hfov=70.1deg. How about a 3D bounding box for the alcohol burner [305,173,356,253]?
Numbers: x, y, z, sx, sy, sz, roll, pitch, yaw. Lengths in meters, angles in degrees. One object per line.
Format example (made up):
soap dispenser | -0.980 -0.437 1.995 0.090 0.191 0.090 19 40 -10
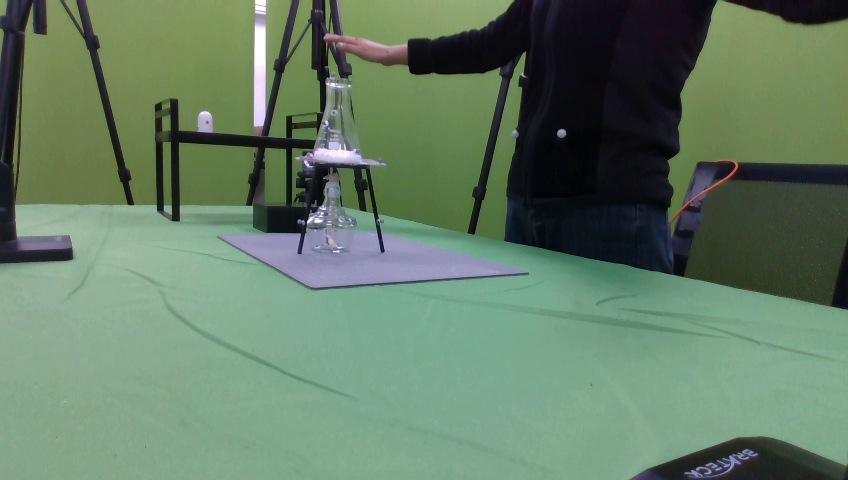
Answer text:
alcohol burner | -0.139 -0.041 0.898 0.078 0.119 0.078 4 8 0

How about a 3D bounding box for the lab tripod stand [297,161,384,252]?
lab tripod stand | -0.130 -0.051 0.903 0.148 0.131 0.148 3 9 0

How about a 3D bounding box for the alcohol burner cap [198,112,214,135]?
alcohol burner cap | -0.459 -0.246 1.271 0.034 0.048 0.034 2 6 0

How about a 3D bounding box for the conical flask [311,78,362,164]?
conical flask | -0.128 -0.174 0.890 0.075 0.122 0.075 3 8 0

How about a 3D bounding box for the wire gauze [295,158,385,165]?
wire gauze | -0.128 -0.117 0.901 0.125 0.011 0.121 -2 8 -14
